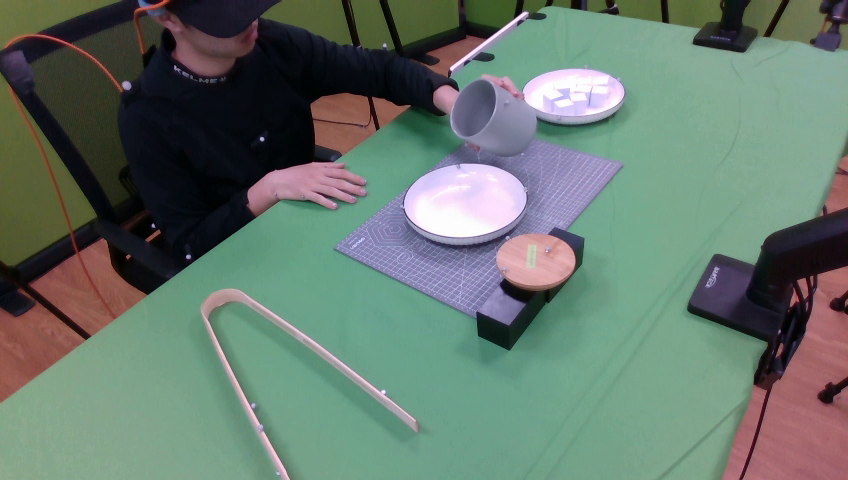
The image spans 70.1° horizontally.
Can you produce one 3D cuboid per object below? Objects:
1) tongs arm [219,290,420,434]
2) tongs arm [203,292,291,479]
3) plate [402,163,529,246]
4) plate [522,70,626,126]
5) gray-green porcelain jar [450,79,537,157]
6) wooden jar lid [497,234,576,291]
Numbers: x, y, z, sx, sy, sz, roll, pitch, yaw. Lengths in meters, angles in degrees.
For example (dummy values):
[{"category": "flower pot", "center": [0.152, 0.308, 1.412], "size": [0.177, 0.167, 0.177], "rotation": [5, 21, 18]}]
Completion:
[{"category": "tongs arm", "center": [-0.152, 0.151, 0.812], "size": [0.384, 0.028, 0.028], "rotation": [26, 52, 33]}, {"category": "tongs arm", "center": [-0.216, 0.187, 0.772], "size": [0.051, 0.026, 0.381], "rotation": [-27, 43, -24]}, {"category": "plate", "center": [0.069, -0.056, 1.008], "size": [0.209, 0.038, 0.208], "rotation": [-4, 40, 4]}, {"category": "plate", "center": [0.308, -0.289, 1.251], "size": [0.207, 0.039, 0.206], "rotation": [-4, 40, 4]}, {"category": "gray-green porcelain jar", "center": [0.126, -0.205, 1.046], "size": [0.128, 0.106, 0.105], "rotation": [14, 21, -44]}, {"category": "wooden jar lid", "center": [0.155, 0.032, 0.834], "size": [0.108, 0.021, 0.108], "rotation": [-5, 40, 4]}]
